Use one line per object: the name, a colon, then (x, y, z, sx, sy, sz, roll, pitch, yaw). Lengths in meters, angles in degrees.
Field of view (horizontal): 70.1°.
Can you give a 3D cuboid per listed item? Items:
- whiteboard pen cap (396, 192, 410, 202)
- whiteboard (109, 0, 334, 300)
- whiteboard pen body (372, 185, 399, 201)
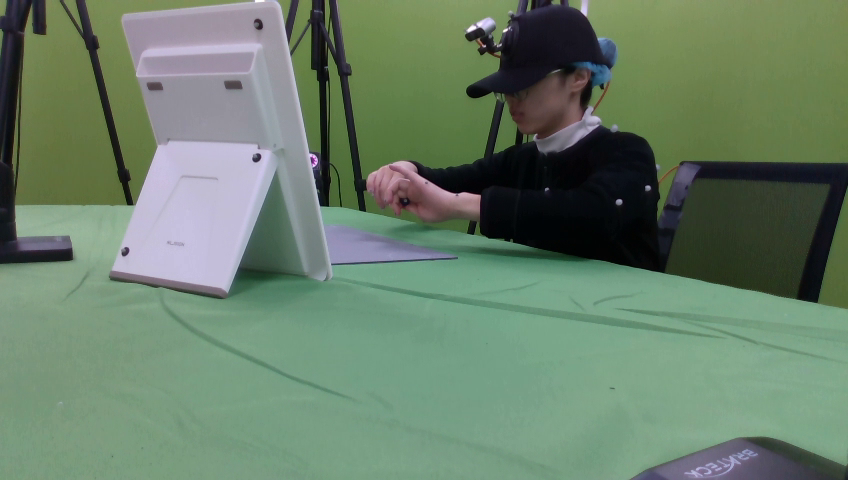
whiteboard pen cap: (-0.038, -0.075, 1.056, 0.018, 0.018, 0.033, -2, 6, -25)
whiteboard: (-0.247, -0.072, 0.624, 0.216, 0.305, 0.144, 6, 28, 26)
whiteboard pen body: (-0.062, -0.085, 1.108, 0.017, 0.017, 0.140, -2, 12, -29)
